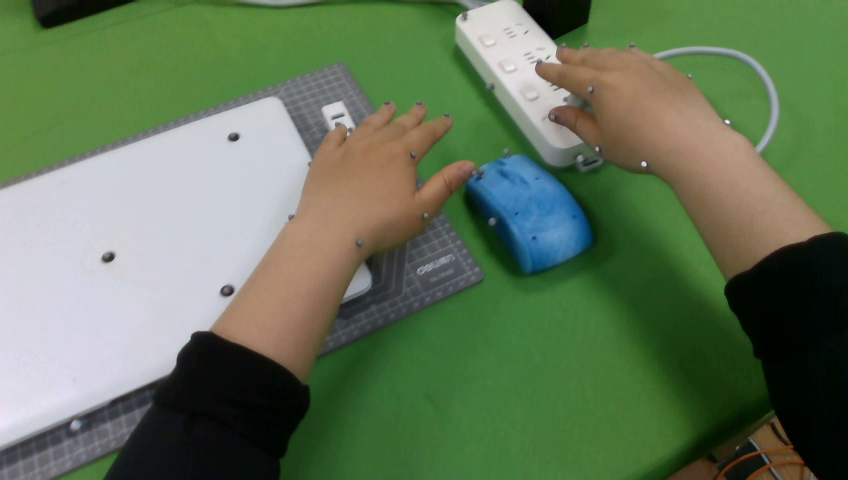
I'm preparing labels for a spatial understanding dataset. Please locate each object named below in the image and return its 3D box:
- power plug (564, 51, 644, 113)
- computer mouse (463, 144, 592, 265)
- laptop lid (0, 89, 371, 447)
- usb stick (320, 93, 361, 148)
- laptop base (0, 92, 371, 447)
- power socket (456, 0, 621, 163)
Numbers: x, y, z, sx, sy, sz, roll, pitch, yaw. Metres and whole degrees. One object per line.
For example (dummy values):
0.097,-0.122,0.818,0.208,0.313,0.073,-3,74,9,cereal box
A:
0.157,-0.129,0.526,0.072,0.053,0.035,-11,60,-7,power plug
0.081,-0.035,0.490,0.063,0.041,0.116,-25,54,-10,computer mouse
-0.245,0.011,0.476,0.357,0.013,0.239,-22,60,-11,laptop lid
-0.078,-0.114,0.555,0.021,0.027,0.058,-24,56,-8,usb stick
-0.245,0.016,0.487,0.355,0.023,0.233,-24,62,-12,laptop base
0.102,-0.162,0.575,0.072,0.033,0.224,-22,58,-10,power socket
